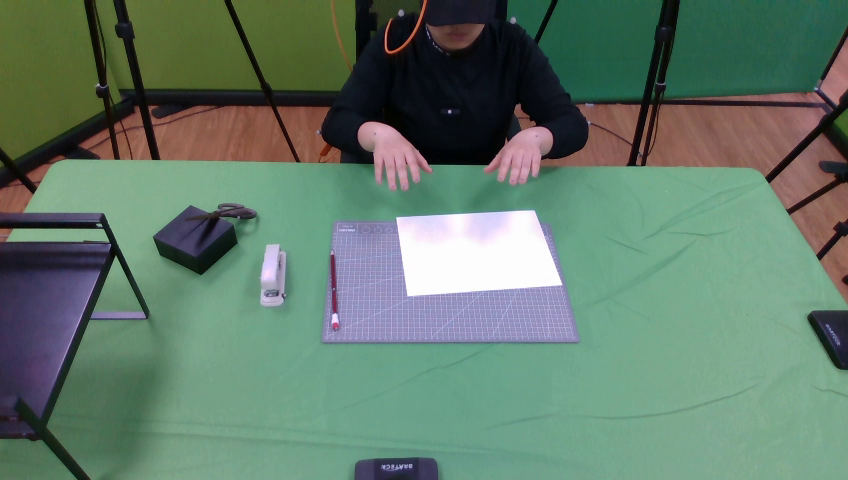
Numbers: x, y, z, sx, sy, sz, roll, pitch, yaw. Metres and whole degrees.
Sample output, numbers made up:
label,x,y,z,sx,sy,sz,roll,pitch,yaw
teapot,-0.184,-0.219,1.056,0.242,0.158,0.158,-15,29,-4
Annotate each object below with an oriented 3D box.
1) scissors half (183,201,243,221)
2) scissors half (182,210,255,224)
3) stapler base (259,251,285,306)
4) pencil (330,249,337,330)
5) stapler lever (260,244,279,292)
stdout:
label,x,y,z,sx,sy,sz,roll,pitch,yaw
scissors half,-0.405,-0.054,1.163,0.040,0.013,0.175,29,18,7
scissors half,-0.389,-0.042,1.158,0.040,0.013,0.175,40,22,22
stapler base,-0.279,0.064,1.113,0.041,0.024,0.129,-2,44,-9
pencil,-0.167,0.085,1.106,0.012,0.012,0.192,-3,45,-7
stapler lever,-0.279,0.045,1.096,0.027,0.040,0.117,-2,44,-9
